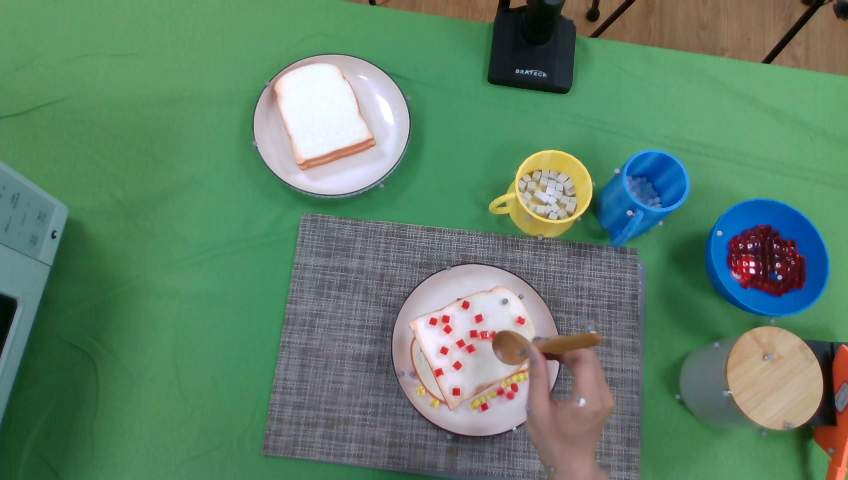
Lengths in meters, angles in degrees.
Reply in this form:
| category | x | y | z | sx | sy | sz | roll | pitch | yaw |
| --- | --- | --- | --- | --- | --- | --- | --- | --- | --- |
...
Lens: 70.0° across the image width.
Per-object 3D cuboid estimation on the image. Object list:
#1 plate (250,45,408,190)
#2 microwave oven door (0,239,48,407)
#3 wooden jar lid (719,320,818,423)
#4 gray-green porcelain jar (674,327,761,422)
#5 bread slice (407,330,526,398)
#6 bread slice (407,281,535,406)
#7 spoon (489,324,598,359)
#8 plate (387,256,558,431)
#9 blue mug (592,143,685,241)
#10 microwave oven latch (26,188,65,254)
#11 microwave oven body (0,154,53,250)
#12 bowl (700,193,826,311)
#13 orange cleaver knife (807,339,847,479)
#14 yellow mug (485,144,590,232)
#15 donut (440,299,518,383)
| category | x | y | z | sx | sy | sz | roll | pitch | yaw |
| --- | --- | --- | --- | --- | --- | --- | --- | --- | --- |
| plate | -0.125 | -0.161 | 0.813 | 0.208 | 0.039 | 0.206 | 1 | 75 | -3 |
| microwave oven door | -0.493 | 0.156 | 0.578 | 0.039 | 0.245 | 0.354 | 8 | 74 | 0 |
| wooden jar lid | 0.366 | 0.141 | 0.649 | 0.108 | 0.021 | 0.108 | 1 | 77 | -5 |
| gray-green porcelain jar | 0.363 | 0.159 | 0.710 | 0.106 | 0.127 | 0.105 | 1 | 74 | -3 |
| bread slice | 0.048 | 0.133 | 0.744 | 0.131 | 0.019 | 0.104 | -24 | 76 | -13 |
| bread slice | 0.058 | 0.107 | 0.687 | 0.134 | 0.018 | 0.106 | -27 | 83 | -16 |
| spoon | 0.108 | 0.096 | 0.580 | 0.021 | 0.193 | 0.041 | -24 | 87 | -19 |
| plate | 0.058 | 0.125 | 0.742 | 0.209 | 0.038 | 0.208 | 1 | 75 | -3 |
| blue mug | 0.264 | -0.050 | 0.772 | 0.082 | 0.106 | 0.116 | 27 | 75 | 5 |
| microwave oven latch | -0.465 | -0.025 | 0.735 | 0.030 | 0.029 | 0.079 | 13 | 75 | 0 |
| microwave oven body | -0.631 | 0.095 | 0.592 | 0.326 | 0.261 | 0.439 | 9 | 75 | -1 |
| bowl | 0.416 | 0.023 | 0.775 | 0.151 | 0.077 | 0.150 | 1 | 75 | -3 |
| orange cleaver knife | 0.484 | 0.225 | 0.721 | 0.012 | 0.077 | 0.212 | 6 | 101 | -1 |
| yellow mug | 0.143 | -0.063 | 0.788 | 0.131 | 0.064 | 0.099 | -13 | 75 | -6 |
| donut | 0.065 | 0.119 | 0.716 | 0.099 | 0.048 | 0.098 | 6 | 74 | -20 |
